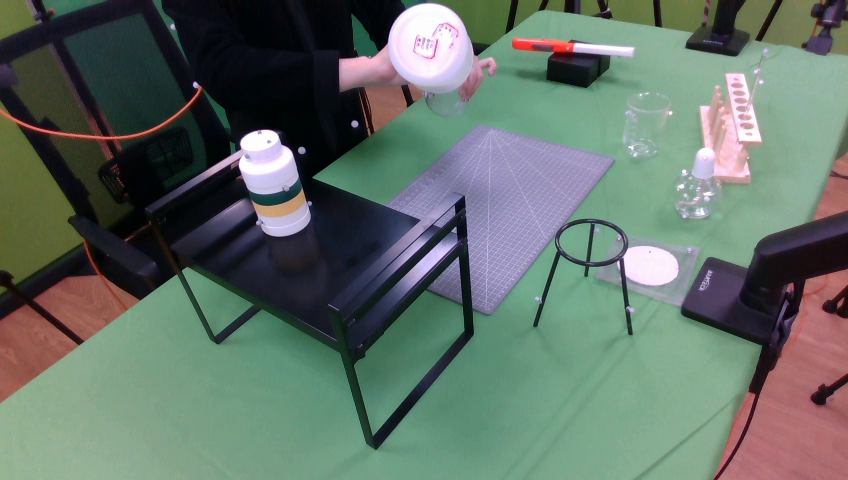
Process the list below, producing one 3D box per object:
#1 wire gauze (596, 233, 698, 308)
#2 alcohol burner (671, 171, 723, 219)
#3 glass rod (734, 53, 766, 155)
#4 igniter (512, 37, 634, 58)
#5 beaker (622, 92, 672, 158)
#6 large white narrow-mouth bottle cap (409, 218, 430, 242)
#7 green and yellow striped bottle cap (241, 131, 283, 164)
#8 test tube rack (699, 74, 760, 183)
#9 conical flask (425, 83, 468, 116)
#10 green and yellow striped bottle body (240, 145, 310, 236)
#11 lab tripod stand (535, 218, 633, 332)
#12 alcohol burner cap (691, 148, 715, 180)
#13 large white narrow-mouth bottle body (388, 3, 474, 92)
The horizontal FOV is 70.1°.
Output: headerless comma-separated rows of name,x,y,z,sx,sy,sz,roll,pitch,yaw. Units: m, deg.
wire gauze,0.331,0.037,0.897,0.124,0.011,0.121,18,47,26
alcohol burner,0.434,-0.093,0.955,0.078,0.119,0.077,-3,43,4
glass rod,0.540,-0.220,1.007,0.008,0.201,0.008,-5,46,6
igniter,0.328,-0.433,1.360,0.275,0.025,0.057,12,33,20
beaker,0.402,-0.210,1.106,0.074,0.101,0.083,-8,40,-2
large white narrow-mouth bottle cap,-0.008,-0.017,0.999,0.038,0.024,0.037,-3,39,3
green and yellow striped bottle cap,-0.187,-0.107,0.695,0.045,0.020,0.045,-4,39,3
test tube rack,0.547,-0.208,1.095,0.066,0.085,0.242,6,42,16
conical flask,0.037,-0.260,1.000,0.075,0.122,0.075,0,80,3
green and yellow striped bottle body,-0.181,-0.069,0.729,0.063,0.120,0.063,-4,40,4
lab tripod stand,0.215,0.050,0.803,0.148,0.132,0.147,-4,42,4
alcohol burner cap,0.432,-0.120,0.930,0.034,0.048,0.033,-7,48,8
large white narrow-mouth bottle body,0.018,-0.258,0.846,0.101,0.102,0.195,2,7,10
